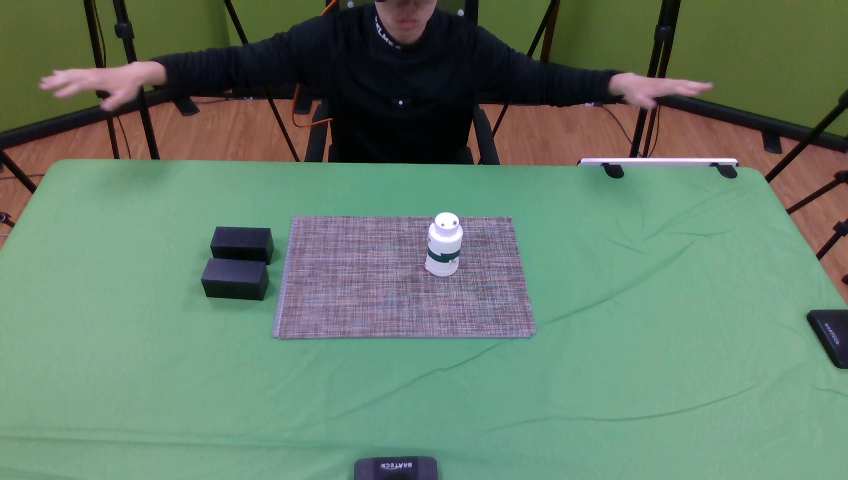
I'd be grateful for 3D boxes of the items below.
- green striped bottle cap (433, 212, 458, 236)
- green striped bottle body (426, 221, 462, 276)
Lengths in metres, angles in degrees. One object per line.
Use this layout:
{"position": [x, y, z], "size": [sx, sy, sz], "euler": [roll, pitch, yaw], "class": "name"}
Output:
{"position": [0.039, -0.030, 1.085], "size": [0.044, 0.020, 0.044], "euler": [3, 46, -3], "class": "green striped bottle cap"}
{"position": [0.037, 0.007, 1.122], "size": [0.063, 0.120, 0.063], "euler": [2, 46, -2], "class": "green striped bottle body"}
